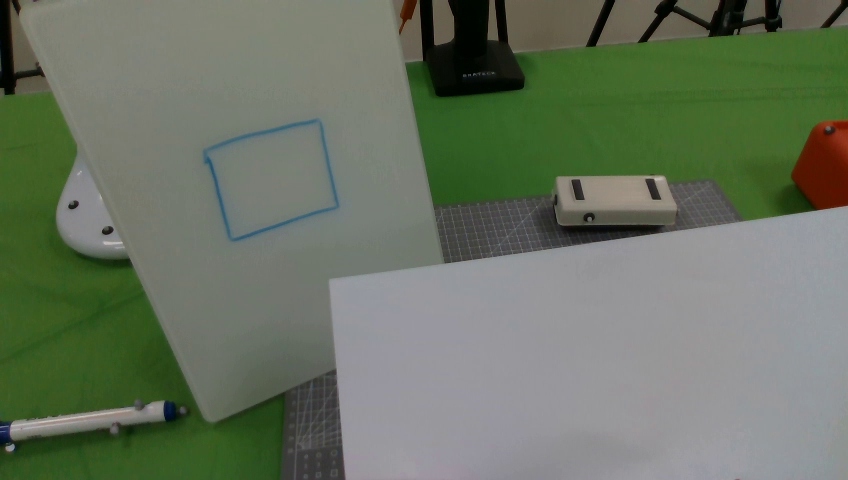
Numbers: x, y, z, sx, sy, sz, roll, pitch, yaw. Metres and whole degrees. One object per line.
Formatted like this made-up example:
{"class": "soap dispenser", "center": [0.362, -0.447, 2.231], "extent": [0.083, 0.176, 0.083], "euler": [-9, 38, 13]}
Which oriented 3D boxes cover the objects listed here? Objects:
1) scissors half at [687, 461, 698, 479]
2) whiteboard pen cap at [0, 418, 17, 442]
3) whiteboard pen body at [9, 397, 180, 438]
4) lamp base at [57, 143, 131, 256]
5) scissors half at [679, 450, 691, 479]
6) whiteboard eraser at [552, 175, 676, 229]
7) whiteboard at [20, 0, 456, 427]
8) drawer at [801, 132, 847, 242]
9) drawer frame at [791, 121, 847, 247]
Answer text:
{"class": "scissors half", "center": [0.146, 0.182, 0.280], "extent": [0.013, 0.175, 0.040], "euler": [-17, 7, 9]}
{"class": "whiteboard pen cap", "center": [-0.317, 0.141, 0.446], "extent": [0.033, 0.018, 0.018], "euler": [-4, 44, -12]}
{"class": "whiteboard pen body", "center": [-0.259, 0.135, 0.455], "extent": [0.141, 0.017, 0.017], "euler": [-6, 44, -9]}
{"class": "lamp base", "center": [-0.308, -0.102, 0.587], "extent": [0.178, 0.182, 0.160], "euler": [24, 49, 27]}
{"class": "scissors half", "center": [0.139, 0.179, 0.257], "extent": [0.013, 0.040, 0.173], "euler": [-18, 61, 14]}
{"class": "whiteboard eraser", "center": [0.187, -0.036, 0.602], "extent": [0.113, 0.042, 0.055], "euler": [-1, 43, 1]}
{"class": "whiteboard", "center": [-0.123, -0.051, 0.482], "extent": [0.217, 0.308, 0.142], "euler": [-21, 28, -18]}
{"class": "drawer", "center": [0.497, -0.020, 0.553], "extent": [0.194, 0.074, 0.209], "euler": [-4, 44, -1]}
{"class": "drawer frame", "center": [0.496, -0.025, 0.557], "extent": [0.202, 0.083, 0.211], "euler": [-5, 44, -2]}
